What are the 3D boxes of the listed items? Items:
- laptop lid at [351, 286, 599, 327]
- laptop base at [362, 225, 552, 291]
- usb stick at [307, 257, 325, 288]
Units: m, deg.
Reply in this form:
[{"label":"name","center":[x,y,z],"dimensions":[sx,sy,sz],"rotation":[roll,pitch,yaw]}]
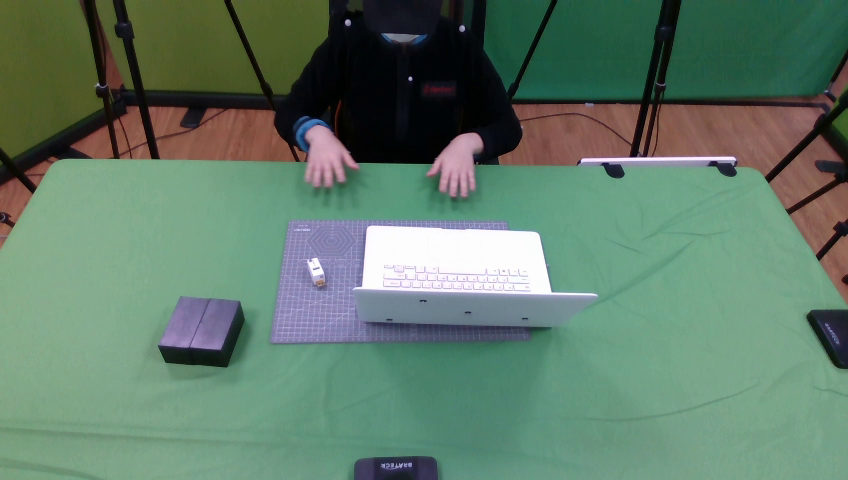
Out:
[{"label":"laptop lid","center":[0.068,0.109,0.952],"dimensions":[0.357,0.242,0.013],"rotation":[2,71,-4]},{"label":"laptop base","center":[0.061,0.063,1.145],"dimensions":[0.354,0.023,0.234],"rotation":[2,43,-3]},{"label":"usb stick","center":[-0.198,0.062,1.116],"dimensions":[0.021,0.027,0.059],"rotation":[-15,52,-19]}]
